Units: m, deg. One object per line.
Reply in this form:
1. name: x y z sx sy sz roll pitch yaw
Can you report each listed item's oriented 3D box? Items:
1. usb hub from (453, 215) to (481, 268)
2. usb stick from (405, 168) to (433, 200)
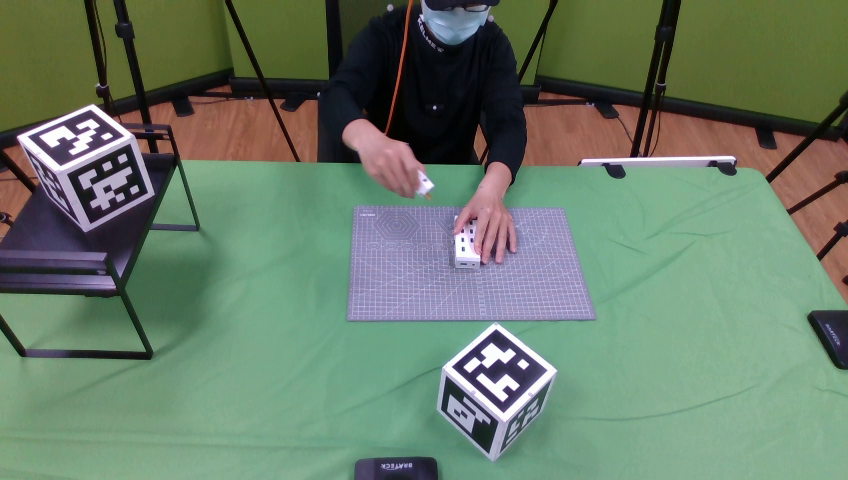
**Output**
1. usb hub: 0.085 0.002 1.197 0.049 0.025 0.124 2 47 -4
2. usb stick: -0.004 -0.097 1.064 0.059 0.027 0.021 50 32 -3
